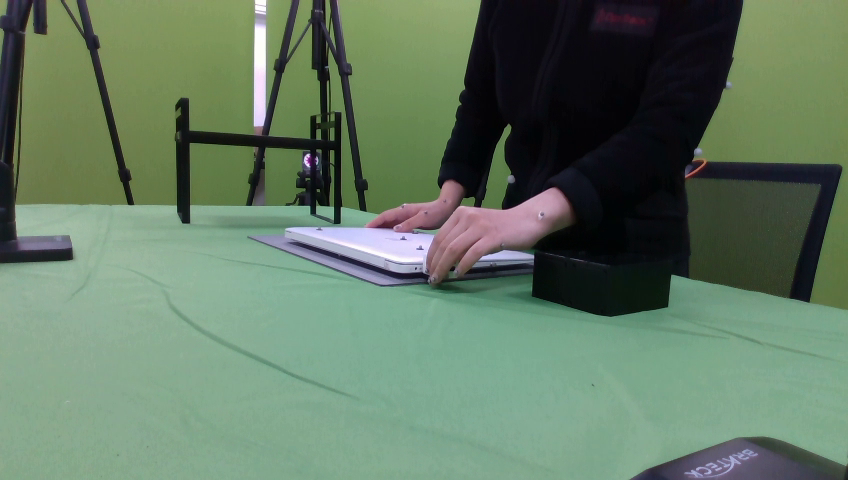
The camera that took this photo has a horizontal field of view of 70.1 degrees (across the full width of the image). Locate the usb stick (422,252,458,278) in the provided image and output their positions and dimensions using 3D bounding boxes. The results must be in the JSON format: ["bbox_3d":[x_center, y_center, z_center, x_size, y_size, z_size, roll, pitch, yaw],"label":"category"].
[{"bbox_3d":[0.014,0.028,0.699,0.021,0.027,0.059,-5,4,-33],"label":"usb stick"}]

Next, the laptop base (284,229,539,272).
[{"bbox_3d":[-0.035,0.013,0.898,0.237,0.023,0.352,2,6,-36],"label":"laptop base"}]

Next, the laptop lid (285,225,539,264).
[{"bbox_3d":[-0.032,0.002,0.898,0.243,0.013,0.355,0,8,-34],"label":"laptop lid"}]
